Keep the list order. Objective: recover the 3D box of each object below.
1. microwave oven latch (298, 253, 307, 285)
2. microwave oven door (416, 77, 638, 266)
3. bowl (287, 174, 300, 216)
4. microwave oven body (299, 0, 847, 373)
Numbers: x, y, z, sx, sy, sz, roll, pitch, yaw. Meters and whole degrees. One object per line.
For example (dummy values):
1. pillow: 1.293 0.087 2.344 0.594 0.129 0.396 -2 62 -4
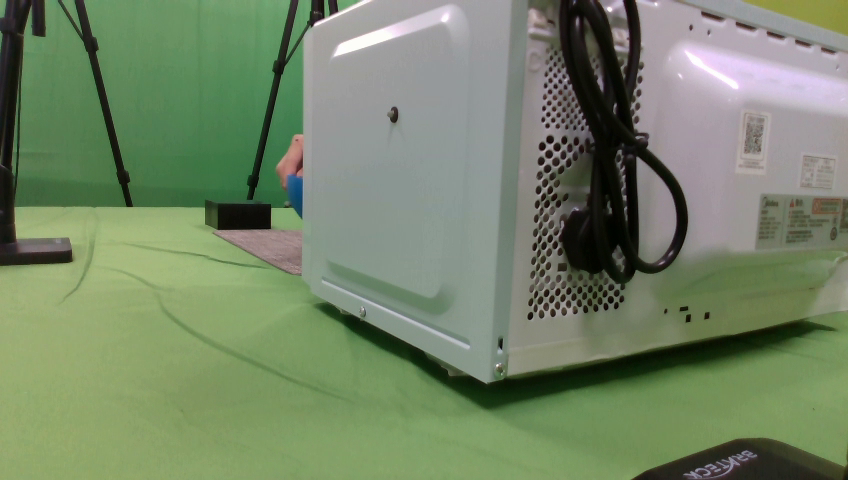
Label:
1. microwave oven latch: -0.081 0.027 0.583 0.079 0.029 0.030 -1 7 -32
2. microwave oven door: 0.131 -0.105 0.892 0.354 0.243 0.039 9 10 42
3. bowl: -0.115 -0.040 0.820 0.151 0.077 0.151 9 6 -1
4. microwave oven body: 0.151 -0.055 0.543 0.444 0.260 0.324 -2 7 -33
